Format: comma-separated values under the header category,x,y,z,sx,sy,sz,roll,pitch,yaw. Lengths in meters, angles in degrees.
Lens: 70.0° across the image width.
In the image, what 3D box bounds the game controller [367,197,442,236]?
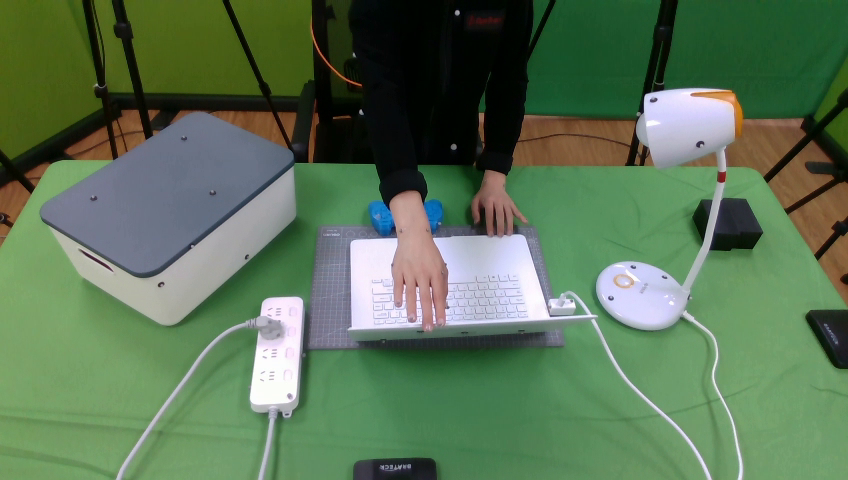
category,x,y,z,sx,sy,sz,roll,pitch,yaw
game controller,-0.037,-0.057,1.231,0.155,0.052,0.096,-2,49,-5

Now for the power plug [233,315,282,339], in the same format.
category,x,y,z,sx,sy,sz,roll,pitch,yaw
power plug,-0.271,0.144,1.000,0.072,0.053,0.035,5,46,3

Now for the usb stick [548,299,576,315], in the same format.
category,x,y,z,sx,sy,sz,roll,pitch,yaw
usb stick,0.240,0.120,1.085,0.059,0.027,0.021,-2,52,-2

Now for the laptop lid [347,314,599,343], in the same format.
category,x,y,z,sx,sy,sz,roll,pitch,yaw
laptop lid,0.062,0.138,0.932,0.357,0.242,0.013,-2,77,-8

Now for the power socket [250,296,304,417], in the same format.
category,x,y,z,sx,sy,sz,roll,pitch,yaw
power socket,-0.239,0.182,0.996,0.072,0.033,0.225,-2,47,-5

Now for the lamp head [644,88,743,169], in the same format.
category,x,y,z,sx,sy,sz,roll,pitch,yaw
lamp head,0.380,-0.161,0.851,0.122,0.113,0.112,-4,42,25

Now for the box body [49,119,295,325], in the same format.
category,x,y,z,sx,sy,sz,roll,pitch,yaw
box body,-0.437,-0.046,1.110,0.253,0.161,0.363,24,49,19

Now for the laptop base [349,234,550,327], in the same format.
category,x,y,z,sx,sy,sz,roll,pitch,yaw
laptop base,0.040,0.081,1.125,0.355,0.023,0.234,-2,43,-6

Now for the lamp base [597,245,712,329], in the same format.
category,x,y,z,sx,sy,sz,roll,pitch,yaw
lamp base,0.418,0.051,1.071,0.179,0.181,0.160,22,49,13

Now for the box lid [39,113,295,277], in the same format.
category,x,y,z,sx,sy,sz,roll,pitch,yaw
box lid,-0.434,-0.096,1.056,0.262,0.015,0.370,25,48,18
